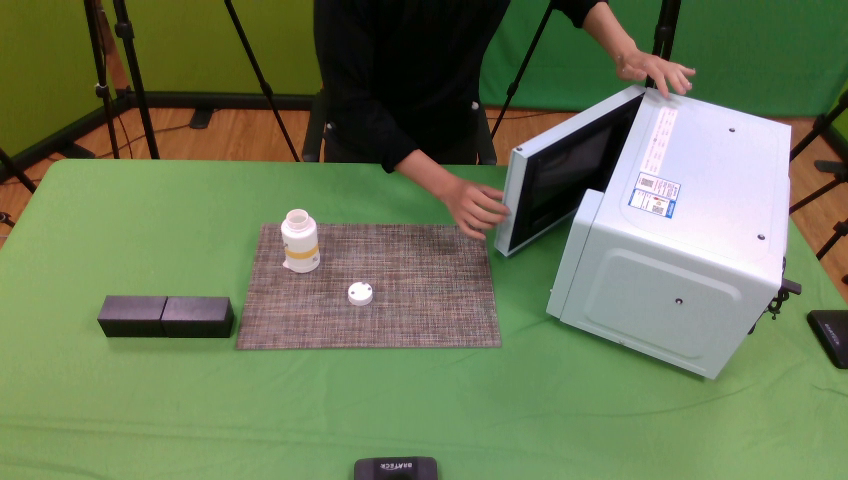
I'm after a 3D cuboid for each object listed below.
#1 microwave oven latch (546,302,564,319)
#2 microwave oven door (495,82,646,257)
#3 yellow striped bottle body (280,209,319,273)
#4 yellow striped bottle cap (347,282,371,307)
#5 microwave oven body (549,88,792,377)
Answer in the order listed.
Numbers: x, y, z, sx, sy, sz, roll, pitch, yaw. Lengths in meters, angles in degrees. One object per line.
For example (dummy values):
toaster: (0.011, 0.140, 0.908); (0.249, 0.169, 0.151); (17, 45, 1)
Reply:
microwave oven latch: (0.242, 0.102, 1.081); (0.030, 0.029, 0.079); (22, 48, 17)
microwave oven door: (0.287, -0.140, 1.175); (0.356, 0.245, 0.039); (-31, 54, -29)
yellow striped bottle body: (-0.227, -0.001, 1.106); (0.063, 0.121, 0.062); (2, 46, -2)
yellow striped bottle cap: (-0.117, 0.098, 1.093); (0.044, 0.019, 0.044); (3, 46, -3)
microwave oven body: (0.456, -0.028, 1.088); (0.325, 0.261, 0.440); (20, 47, 16)
